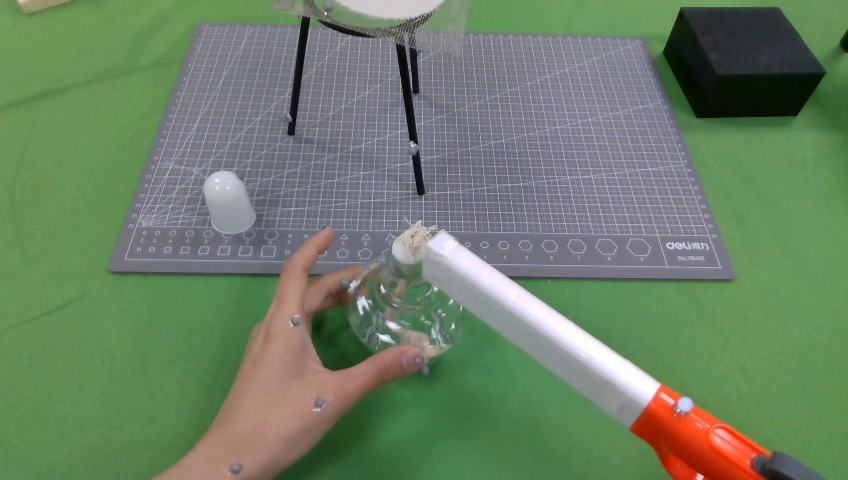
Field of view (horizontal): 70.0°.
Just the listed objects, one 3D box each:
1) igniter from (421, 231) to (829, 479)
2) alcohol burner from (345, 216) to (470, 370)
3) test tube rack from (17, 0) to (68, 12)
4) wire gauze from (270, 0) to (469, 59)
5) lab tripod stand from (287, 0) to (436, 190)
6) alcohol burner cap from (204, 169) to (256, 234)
[{"bbox_3d":[0.108,0.082,0.273,0.274,0.057,0.025,35,55,21],"label":"igniter"},{"bbox_3d":[-0.010,0.028,0.362,0.078,0.120,0.077,1,53,0],"label":"alcohol burner"},{"bbox_3d":[-0.316,-0.327,0.627,0.242,0.086,0.066,-30,61,-24],"label":"test tube rack"},{"bbox_3d":[-0.027,-0.174,0.413,0.125,0.011,0.120,12,53,3],"label":"wire gauze"},{"bbox_3d":[-0.036,-0.128,0.462,0.148,0.132,0.147,3,53,-4],"label":"lab tripod stand"},{"bbox_3d":[-0.143,-0.031,0.439,0.034,0.048,0.033,3,52,-3],"label":"alcohol burner cap"}]
